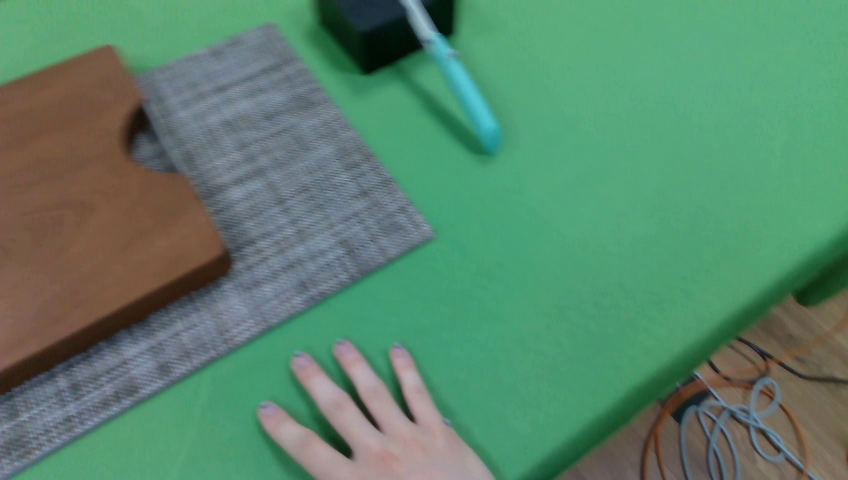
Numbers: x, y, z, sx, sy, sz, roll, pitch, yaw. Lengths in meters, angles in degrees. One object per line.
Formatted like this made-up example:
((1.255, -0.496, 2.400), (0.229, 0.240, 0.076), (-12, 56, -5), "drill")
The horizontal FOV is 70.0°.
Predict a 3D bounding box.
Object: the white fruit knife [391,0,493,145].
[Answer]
((0.001, -0.171, 0.516), (0.016, 0.027, 0.206), (-28, 78, -19), "white fruit knife")
